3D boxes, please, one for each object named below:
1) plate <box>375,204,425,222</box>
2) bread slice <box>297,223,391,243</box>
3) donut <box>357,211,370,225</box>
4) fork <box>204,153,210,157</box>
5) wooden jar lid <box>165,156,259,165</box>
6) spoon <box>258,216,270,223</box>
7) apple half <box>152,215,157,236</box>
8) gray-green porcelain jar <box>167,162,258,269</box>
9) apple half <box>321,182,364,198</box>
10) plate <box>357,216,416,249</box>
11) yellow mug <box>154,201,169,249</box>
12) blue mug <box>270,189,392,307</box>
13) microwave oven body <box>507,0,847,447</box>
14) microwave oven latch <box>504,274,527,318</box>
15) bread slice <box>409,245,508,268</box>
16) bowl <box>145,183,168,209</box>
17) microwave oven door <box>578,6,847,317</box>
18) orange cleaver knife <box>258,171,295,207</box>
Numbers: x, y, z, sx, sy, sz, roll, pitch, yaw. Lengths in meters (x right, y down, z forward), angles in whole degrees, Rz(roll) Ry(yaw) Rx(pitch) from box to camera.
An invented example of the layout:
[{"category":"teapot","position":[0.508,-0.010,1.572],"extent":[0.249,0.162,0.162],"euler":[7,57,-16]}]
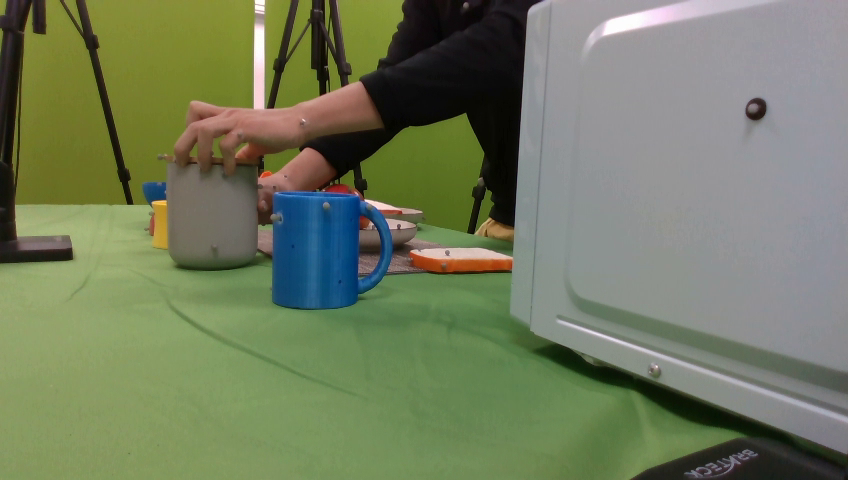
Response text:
[{"category":"plate","position":[-0.102,-0.053,1.299],"extent":[0.209,0.038,0.209],"euler":[2,8,0]},{"category":"bread slice","position":[-0.121,-0.013,0.970],"extent":[0.106,0.018,0.135],"euler":[11,11,41]},{"category":"donut","position":[-0.132,-0.042,0.959],"extent":[0.099,0.048,0.099],"euler":[0,7,0]},{"category":"fork","position":[-0.480,-0.135,1.411],"extent":[0.028,0.018,0.207],"euler":[1,-34,0]},{"category":"wooden jar lid","position":[-0.259,-0.093,0.745],"extent":[0.108,0.020,0.108],"euler":[1,8,0]},{"category":"spoon","position":[-0.200,-0.031,0.962],"extent":[0.041,0.021,0.195],"euler":[7,0,31]},{"category":"apple half","position":[-0.415,-0.034,1.017],"extent":[0.081,0.053,0.074],"euler":[1,10,-8]},{"category":"gray-green porcelain jar","position":[-0.261,-0.032,0.753],"extent":[0.106,0.126,0.106],"euler":[2,7,0]},{"category":"apple half","position":[-0.129,-0.076,0.954],"extent":[0.081,0.033,0.081],"euler":[7,11,-1]},{"category":"plate","position":[-0.116,-0.014,0.966],"extent":[0.208,0.039,0.207],"euler":[2,7,0]},{"category":"yellow mug","position":[-0.337,-0.022,0.899],"extent":[0.130,0.064,0.100],"euler":[8,9,35]},{"category":"blue mug","position":[-0.090,0.005,0.588],"extent":[0.117,0.106,0.082],"euler":[0,7,-10]},{"category":"microwave oven body","position":[0.331,-0.042,0.425],"extent":[0.444,0.260,0.324],"euler":[-2,8,-31]},{"category":"microwave oven latch","position":[0.100,0.041,0.470],"extent":[0.079,0.029,0.030],"euler":[-1,7,-26]},{"category":"bread slice","position":[0.048,0.021,0.816],"extent":[0.132,0.019,0.104],"euler":[0,7,-24]},{"category":"bowl","position":[-0.459,-0.068,1.175],"extent":[0.151,0.077,0.151],"euler":[3,7,0]},{"category":"microwave oven door","position":[0.294,-0.067,0.570],"extent":[0.358,0.243,0.039],"euler":[-3,9,-31]},{"category":"orange cleaver knife","position":[-0.283,-0.086,1.343],"extent":[0.212,0.077,0.012],"euler":[24,-16,-41]}]
